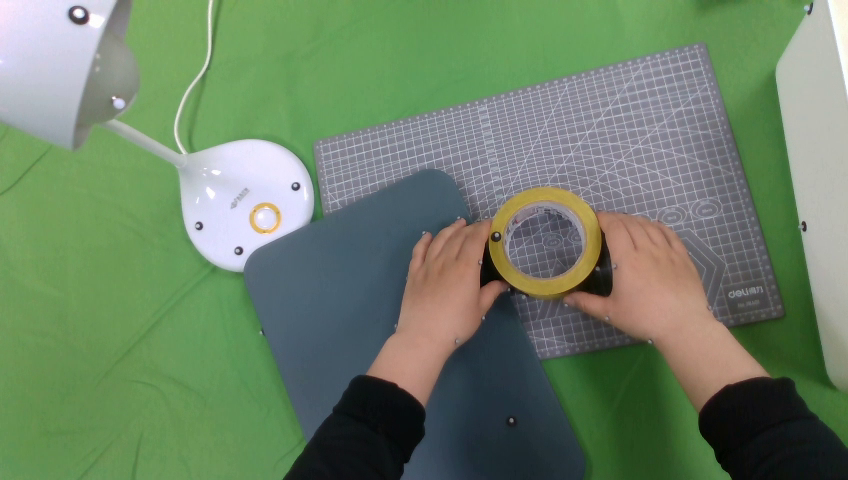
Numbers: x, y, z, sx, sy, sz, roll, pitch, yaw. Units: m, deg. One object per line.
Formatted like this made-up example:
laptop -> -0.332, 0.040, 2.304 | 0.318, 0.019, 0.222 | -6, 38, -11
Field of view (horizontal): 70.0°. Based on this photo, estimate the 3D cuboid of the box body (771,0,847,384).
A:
box body -> 0.464, -0.057, 0.503 | 0.254, 0.161, 0.362 | -6, 80, 11

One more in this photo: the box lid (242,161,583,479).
box lid -> -0.023, 0.119, 0.647 | 0.263, 0.015, 0.369 | -26, 80, 5

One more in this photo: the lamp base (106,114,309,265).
lamp base -> -0.238, -0.068, 0.642 | 0.178, 0.181, 0.160 | 28, 87, 18

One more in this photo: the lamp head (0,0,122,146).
lamp head -> -0.249, -0.125, 0.349 | 0.123, 0.112, 0.112 | 17, 83, -20

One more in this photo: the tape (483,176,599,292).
tape -> 0.120, -0.006, 0.621 | 0.116, 0.053, 0.116 | -2, 80, 11
